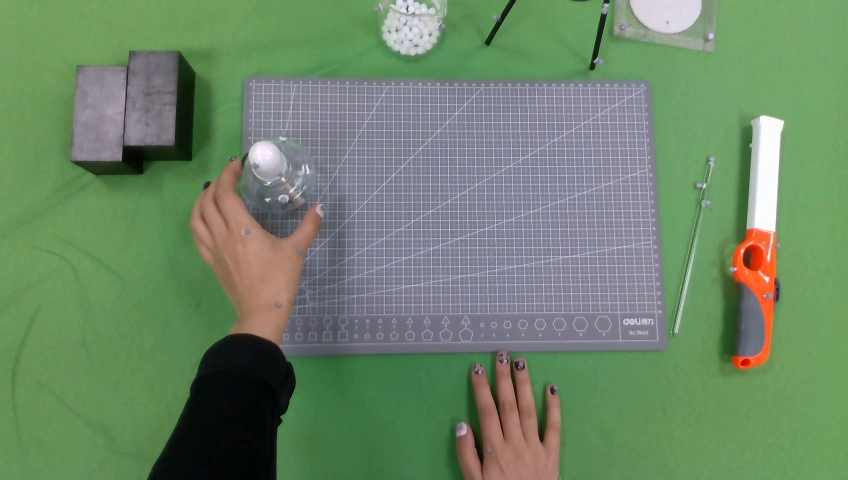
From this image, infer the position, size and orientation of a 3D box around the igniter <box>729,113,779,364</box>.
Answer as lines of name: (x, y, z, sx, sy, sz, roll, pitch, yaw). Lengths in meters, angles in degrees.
igniter: (0.359, -0.003, 0.657, 0.057, 0.025, 0.275, 10, 82, -12)

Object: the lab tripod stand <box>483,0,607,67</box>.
lab tripod stand: (0.137, -0.259, 0.627, 0.148, 0.132, 0.148, 0, 80, -1)

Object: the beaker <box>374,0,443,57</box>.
beaker: (-0.015, -0.242, 0.634, 0.074, 0.100, 0.084, -45, 87, -8)

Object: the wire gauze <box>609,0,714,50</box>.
wire gauze: (0.275, -0.285, 0.702, 0.125, 0.011, 0.121, 7, 81, 0)

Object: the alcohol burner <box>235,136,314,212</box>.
alcohol burner: (-0.149, -0.070, 0.591, 0.078, 0.119, 0.077, 0, 79, -2)

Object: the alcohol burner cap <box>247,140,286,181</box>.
alcohol burner cap: (-0.146, -0.074, 0.556, 0.034, 0.048, 0.034, 1, 84, -6)

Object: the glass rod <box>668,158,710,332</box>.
glass rod: (0.289, 0.004, 0.662, 0.008, 0.008, 0.199, 16, 82, -1)
